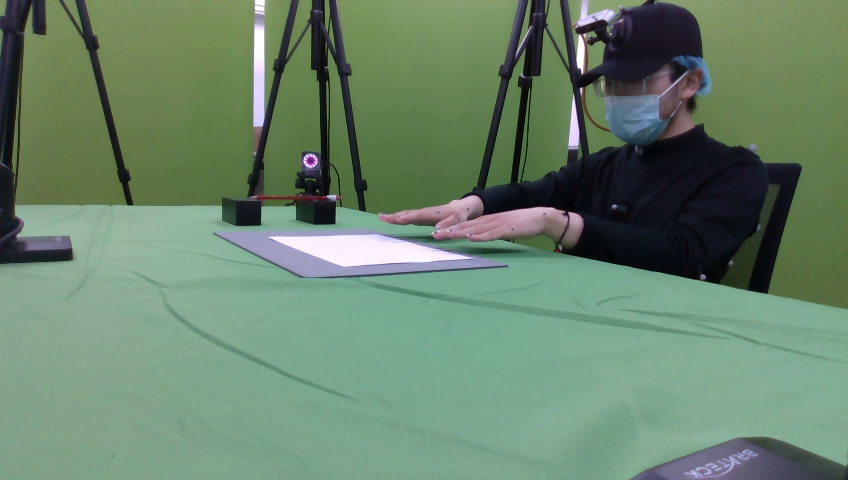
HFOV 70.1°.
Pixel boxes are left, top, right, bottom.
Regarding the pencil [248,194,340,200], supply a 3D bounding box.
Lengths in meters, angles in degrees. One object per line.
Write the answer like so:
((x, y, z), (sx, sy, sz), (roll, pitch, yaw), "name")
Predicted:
((-0.275, -0.091, 1.291), (0.195, 0.012, 0.012), (-2, 9, -21), "pencil")
